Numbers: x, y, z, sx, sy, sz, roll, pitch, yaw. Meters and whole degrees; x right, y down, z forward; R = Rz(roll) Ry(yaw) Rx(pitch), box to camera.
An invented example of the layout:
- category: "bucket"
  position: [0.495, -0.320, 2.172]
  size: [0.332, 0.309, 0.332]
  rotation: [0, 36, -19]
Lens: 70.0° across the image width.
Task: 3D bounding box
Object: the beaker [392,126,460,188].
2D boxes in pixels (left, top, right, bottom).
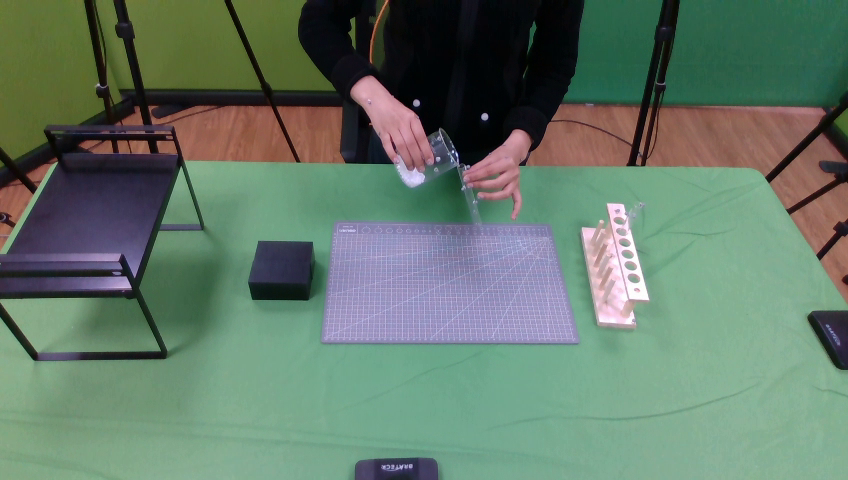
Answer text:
- category: "beaker"
  position: [0.004, -0.140, 1.063]
  size: [0.100, 0.084, 0.073]
  rotation: [-26, 39, 16]

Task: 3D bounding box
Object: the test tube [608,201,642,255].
- category: "test tube"
  position: [0.373, -0.019, 1.133]
  size: [0.017, 0.151, 0.017]
  rotation: [3, 53, -4]

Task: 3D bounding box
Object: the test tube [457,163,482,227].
- category: "test tube"
  position: [0.085, -0.081, 1.123]
  size: [0.017, 0.151, 0.017]
  rotation: [-12, 42, 11]

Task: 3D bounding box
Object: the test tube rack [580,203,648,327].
- category: "test tube rack"
  position: [0.352, 0.041, 1.143]
  size: [0.067, 0.085, 0.241]
  rotation: [4, 46, 0]
